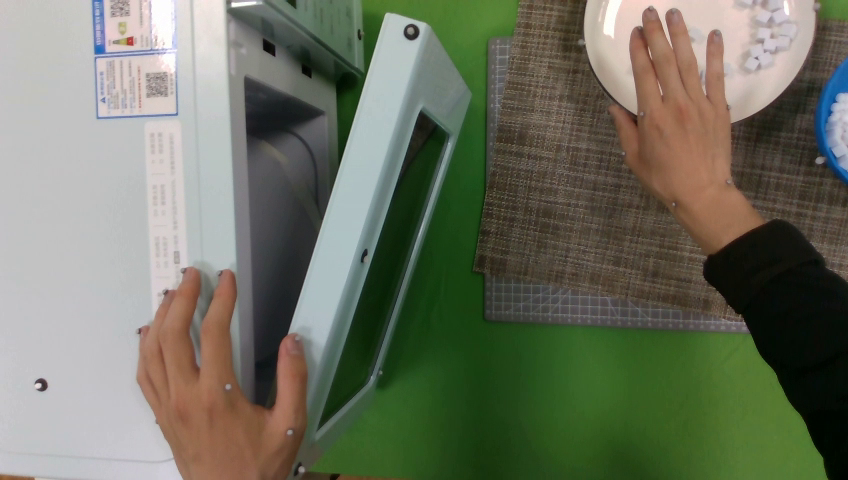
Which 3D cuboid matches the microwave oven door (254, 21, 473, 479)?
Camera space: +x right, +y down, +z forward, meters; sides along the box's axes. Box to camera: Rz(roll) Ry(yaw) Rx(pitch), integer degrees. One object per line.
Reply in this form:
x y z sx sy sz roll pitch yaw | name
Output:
-0.042 0.016 0.536 0.039 0.244 0.356 19 97 10 | microwave oven door

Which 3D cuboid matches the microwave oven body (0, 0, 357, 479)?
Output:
-0.241 -0.034 0.575 0.325 0.260 0.442 -1 94 10 | microwave oven body

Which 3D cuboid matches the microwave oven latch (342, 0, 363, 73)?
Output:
-0.079 -0.217 0.631 0.030 0.029 0.079 0 94 10 | microwave oven latch

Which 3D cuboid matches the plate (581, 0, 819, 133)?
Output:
0.258 -0.204 0.581 0.209 0.038 0.209 0 90 11 | plate

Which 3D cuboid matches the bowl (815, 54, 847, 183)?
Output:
0.417 -0.107 0.536 0.151 0.077 0.151 1 94 11 | bowl
